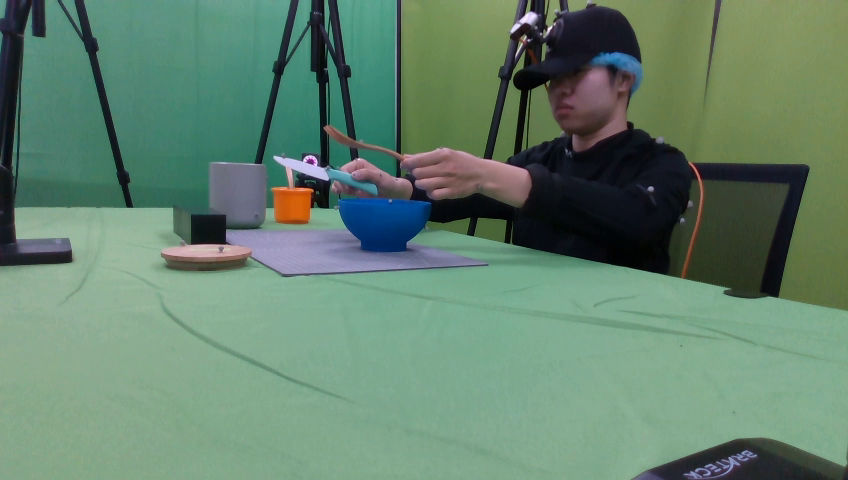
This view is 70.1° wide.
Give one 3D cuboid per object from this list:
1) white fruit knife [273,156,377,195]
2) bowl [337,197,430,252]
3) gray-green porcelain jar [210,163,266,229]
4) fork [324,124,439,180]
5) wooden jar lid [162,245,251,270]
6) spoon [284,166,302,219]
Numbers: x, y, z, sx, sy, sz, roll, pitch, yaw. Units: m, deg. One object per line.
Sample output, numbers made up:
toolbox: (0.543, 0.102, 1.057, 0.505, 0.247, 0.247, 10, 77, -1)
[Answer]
white fruit knife: (-0.171, -0.117, 1.072, 0.208, 0.027, 0.016, 14, -27, -37)
bowl: (-0.066, -0.024, 0.967, 0.151, 0.077, 0.151, 3, 8, 0)
gray-green porcelain jar: (-0.367, -0.088, 1.194, 0.106, 0.126, 0.106, 3, 8, 0)
fork: (-0.060, -0.132, 0.931, 0.208, 0.018, 0.028, 17, -20, -33)
wooden jar lid: (-0.278, 0.022, 0.777, 0.108, 0.020, 0.108, 2, 6, 0)
spoon: (-0.302, -0.118, 1.370, 0.042, 0.193, 0.021, 5, -39, -24)
